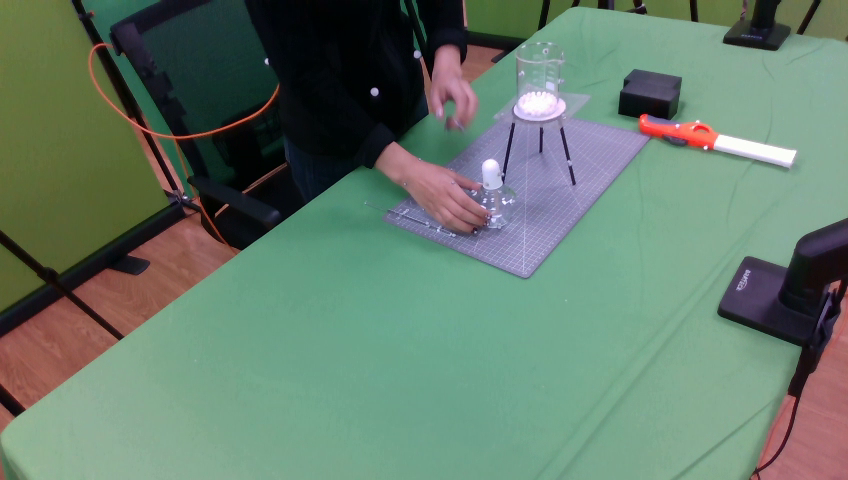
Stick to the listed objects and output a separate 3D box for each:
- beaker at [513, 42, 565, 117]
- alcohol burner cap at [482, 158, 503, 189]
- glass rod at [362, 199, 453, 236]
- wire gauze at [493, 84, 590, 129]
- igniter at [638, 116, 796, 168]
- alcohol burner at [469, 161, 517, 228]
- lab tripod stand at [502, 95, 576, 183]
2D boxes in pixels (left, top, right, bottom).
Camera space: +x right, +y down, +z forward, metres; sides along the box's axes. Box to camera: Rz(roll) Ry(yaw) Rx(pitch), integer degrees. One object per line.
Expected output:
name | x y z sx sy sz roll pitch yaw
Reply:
beaker | 0.187 -0.257 0.981 0.083 0.101 0.074 21 49 29
alcohol burner cap | 0.107 -0.106 0.954 0.034 0.048 0.033 -8 39 7
glass rod | -0.032 -0.041 1.041 0.198 0.008 0.008 22 50 31
wire gauze | 0.198 -0.223 1.013 0.120 0.011 0.125 21 47 28
igniter | 0.517 -0.181 1.093 0.274 0.025 0.057 23 65 32
alcohol burner | 0.112 -0.079 0.978 0.078 0.119 0.077 -4 40 3
lab tripod stand | 0.204 -0.174 1.057 0.148 0.132 0.147 -4 40 4
